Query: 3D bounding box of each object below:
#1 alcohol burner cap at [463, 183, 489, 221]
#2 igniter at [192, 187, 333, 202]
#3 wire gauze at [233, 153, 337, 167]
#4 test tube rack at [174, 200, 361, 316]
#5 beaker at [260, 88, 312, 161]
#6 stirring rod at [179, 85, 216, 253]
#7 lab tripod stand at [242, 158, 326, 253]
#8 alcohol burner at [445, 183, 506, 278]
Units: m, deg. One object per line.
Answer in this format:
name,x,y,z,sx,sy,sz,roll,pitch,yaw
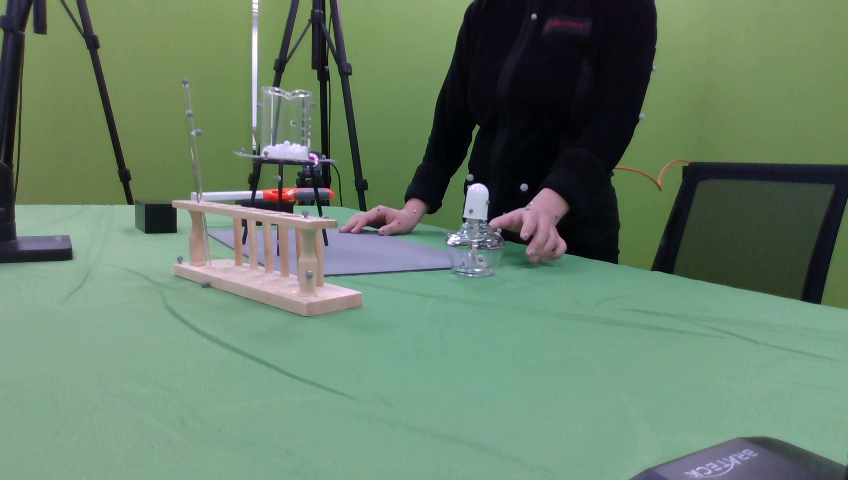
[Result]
alcohol burner cap,0.067,-0.049,0.765,0.034,0.048,0.034,5,5,0
igniter,-0.316,-0.090,1.214,0.278,0.025,0.057,-5,13,-31
wire gauze,-0.205,-0.119,0.887,0.122,0.011,0.124,2,4,-32
test tube rack,-0.169,0.009,0.622,0.241,0.085,0.067,9,9,41
beaker,-0.201,-0.166,0.877,0.074,0.100,0.083,1,7,-18
stirring rod,-0.237,-0.073,0.634,0.006,0.176,0.014,0,9,42
lab tripod stand,-0.207,-0.054,0.895,0.148,0.131,0.148,3,5,0
alcohol burner,0.066,-0.013,0.771,0.078,0.119,0.078,0,7,0
